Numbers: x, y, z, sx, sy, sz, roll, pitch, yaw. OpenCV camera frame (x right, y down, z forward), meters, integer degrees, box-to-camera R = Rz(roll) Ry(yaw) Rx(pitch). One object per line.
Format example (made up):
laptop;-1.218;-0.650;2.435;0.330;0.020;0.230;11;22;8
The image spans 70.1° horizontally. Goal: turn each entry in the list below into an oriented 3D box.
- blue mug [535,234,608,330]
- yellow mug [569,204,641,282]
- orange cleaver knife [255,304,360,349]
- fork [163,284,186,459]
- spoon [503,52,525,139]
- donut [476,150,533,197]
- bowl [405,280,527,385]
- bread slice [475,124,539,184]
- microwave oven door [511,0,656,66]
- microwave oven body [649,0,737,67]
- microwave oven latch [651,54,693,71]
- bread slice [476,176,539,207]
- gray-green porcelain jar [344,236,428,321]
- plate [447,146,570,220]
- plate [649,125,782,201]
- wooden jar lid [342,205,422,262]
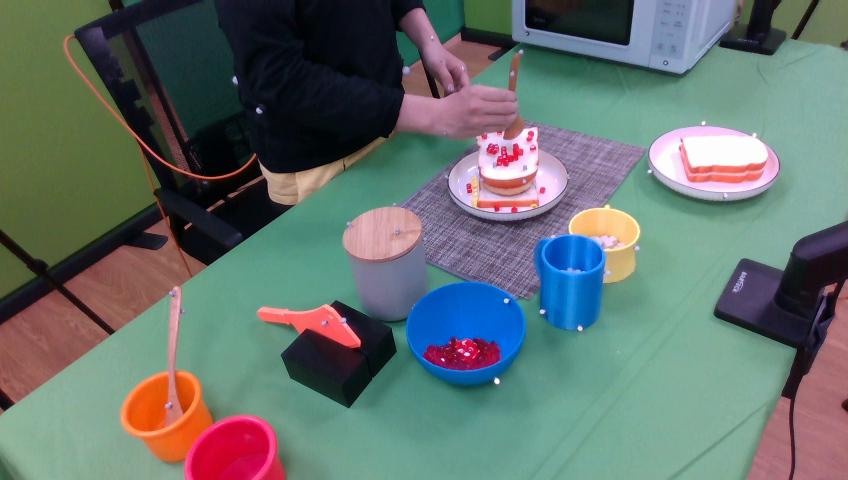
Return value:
blue mug;0.191;0.048;0.824;0.082;0.106;0.115;-26;44;-21
yellow mug;0.268;-0.005;0.904;0.099;0.064;0.130;7;41;15
orange cleaver knife;-0.161;0.115;0.813;0.210;0.077;0.012;-4;32;47
fork;-0.302;0.157;0.733;0.028;0.019;0.207;-3;84;15
spoon;0.137;-0.216;0.927;0.042;0.195;0.021;-27;60;-7
donut;0.138;-0.116;1.025;0.099;0.048;0.098;-8;55;12
bowl;0.055;0.131;0.767;0.151;0.077;0.150;-4;40;4
bread slice;0.143;-0.143;1.009;0.107;0.018;0.133;-8;46;7
microwave oven door;0.351;-0.539;1.349;0.353;0.245;0.039;24;50;31
microwave oven body;0.475;-0.602;1.411;0.438;0.261;0.327;23;50;32
microwave oven latch;0.532;-0.386;1.301;0.078;0.029;0.030;26;52;34
bread slice;0.144;-0.103;1.059;0.105;0.019;0.131;-1;44;5
gray-green porcelain jar;-0.049;0.042;0.849;0.106;0.127;0.105;-4;41;4
plate;0.145;-0.098;1.046;0.209;0.038;0.208;-4;41;4
plate;0.493;-0.128;1.036;0.207;0.039;0.206;-4;41;4
wooden jar lid;-0.055;-0.006;0.808;0.108;0.021;0.108;-6;41;6
